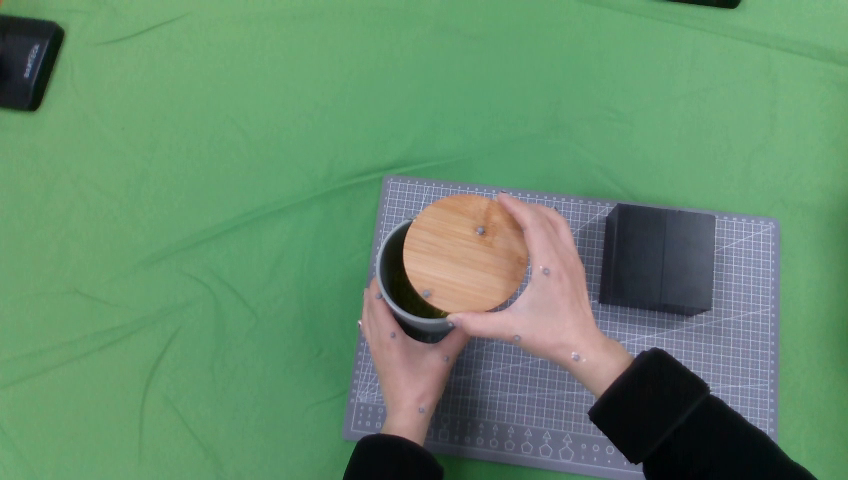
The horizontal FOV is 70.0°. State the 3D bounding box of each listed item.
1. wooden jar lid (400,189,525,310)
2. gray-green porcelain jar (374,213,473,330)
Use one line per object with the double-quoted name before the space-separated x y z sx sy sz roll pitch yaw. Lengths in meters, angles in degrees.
"wooden jar lid" 0.033 0.009 0.528 0.108 0.021 0.108 0 75 1
"gray-green porcelain jar" 0.009 0.036 0.614 0.106 0.127 0.105 0 76 2
